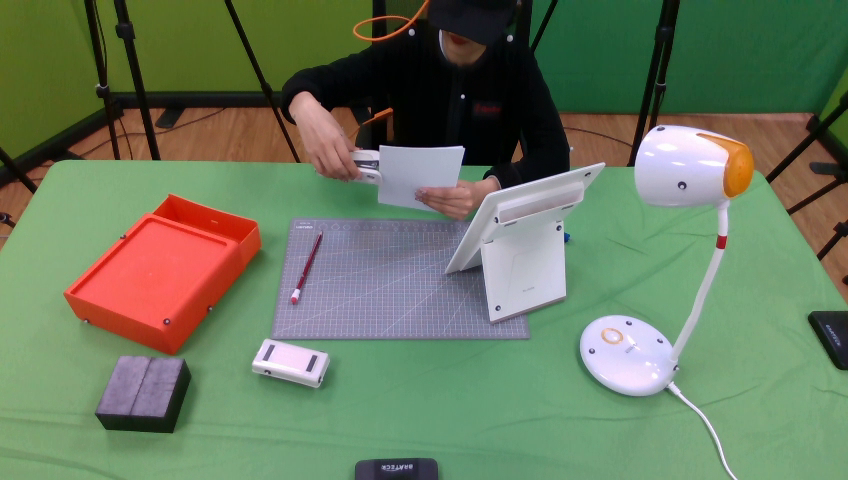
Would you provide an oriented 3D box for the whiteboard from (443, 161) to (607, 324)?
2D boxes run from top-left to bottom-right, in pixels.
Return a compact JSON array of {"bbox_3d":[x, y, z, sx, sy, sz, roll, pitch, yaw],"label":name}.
[{"bbox_3d":[0.185,0.026,1.028,0.217,0.306,0.143,-15,68,-18],"label":"whiteboard"}]

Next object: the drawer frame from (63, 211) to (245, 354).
[{"bbox_3d":[-0.459,0.067,1.055,0.201,0.083,0.212,17,48,11],"label":"drawer frame"}]

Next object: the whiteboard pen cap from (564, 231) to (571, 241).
[{"bbox_3d":[0.281,-0.011,1.230,0.033,0.018,0.018,25,50,16],"label":"whiteboard pen cap"}]

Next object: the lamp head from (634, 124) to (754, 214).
[{"bbox_3d":[0.351,-0.089,0.776,0.112,0.113,0.122,-30,30,-28],"label":"lamp head"}]

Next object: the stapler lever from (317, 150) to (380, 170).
[{"bbox_3d":[-0.140,-0.154,1.149,0.118,0.027,0.040,9,63,6],"label":"stapler lever"}]

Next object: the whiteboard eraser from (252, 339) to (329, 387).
[{"bbox_3d":[-0.215,0.199,0.976,0.112,0.042,0.055,12,45,7],"label":"whiteboard eraser"}]

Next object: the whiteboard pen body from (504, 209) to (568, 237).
[{"bbox_3d":[0.230,-0.034,1.248,0.140,0.017,0.017,23,49,17],"label":"whiteboard pen body"}]

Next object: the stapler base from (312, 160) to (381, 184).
[{"bbox_3d":[-0.143,-0.132,1.139,0.130,0.041,0.024,8,62,6],"label":"stapler base"}]

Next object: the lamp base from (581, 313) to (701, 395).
[{"bbox_3d":[0.361,0.144,0.973,0.178,0.181,0.160,34,53,23],"label":"lamp base"}]

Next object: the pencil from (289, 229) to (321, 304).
[{"bbox_3d":[-0.221,0.045,1.141,0.012,0.012,0.193,8,44,4],"label":"pencil"}]

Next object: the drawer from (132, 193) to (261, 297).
[{"bbox_3d":[-0.437,0.027,1.098,0.194,0.073,0.211,18,48,12],"label":"drawer"}]
